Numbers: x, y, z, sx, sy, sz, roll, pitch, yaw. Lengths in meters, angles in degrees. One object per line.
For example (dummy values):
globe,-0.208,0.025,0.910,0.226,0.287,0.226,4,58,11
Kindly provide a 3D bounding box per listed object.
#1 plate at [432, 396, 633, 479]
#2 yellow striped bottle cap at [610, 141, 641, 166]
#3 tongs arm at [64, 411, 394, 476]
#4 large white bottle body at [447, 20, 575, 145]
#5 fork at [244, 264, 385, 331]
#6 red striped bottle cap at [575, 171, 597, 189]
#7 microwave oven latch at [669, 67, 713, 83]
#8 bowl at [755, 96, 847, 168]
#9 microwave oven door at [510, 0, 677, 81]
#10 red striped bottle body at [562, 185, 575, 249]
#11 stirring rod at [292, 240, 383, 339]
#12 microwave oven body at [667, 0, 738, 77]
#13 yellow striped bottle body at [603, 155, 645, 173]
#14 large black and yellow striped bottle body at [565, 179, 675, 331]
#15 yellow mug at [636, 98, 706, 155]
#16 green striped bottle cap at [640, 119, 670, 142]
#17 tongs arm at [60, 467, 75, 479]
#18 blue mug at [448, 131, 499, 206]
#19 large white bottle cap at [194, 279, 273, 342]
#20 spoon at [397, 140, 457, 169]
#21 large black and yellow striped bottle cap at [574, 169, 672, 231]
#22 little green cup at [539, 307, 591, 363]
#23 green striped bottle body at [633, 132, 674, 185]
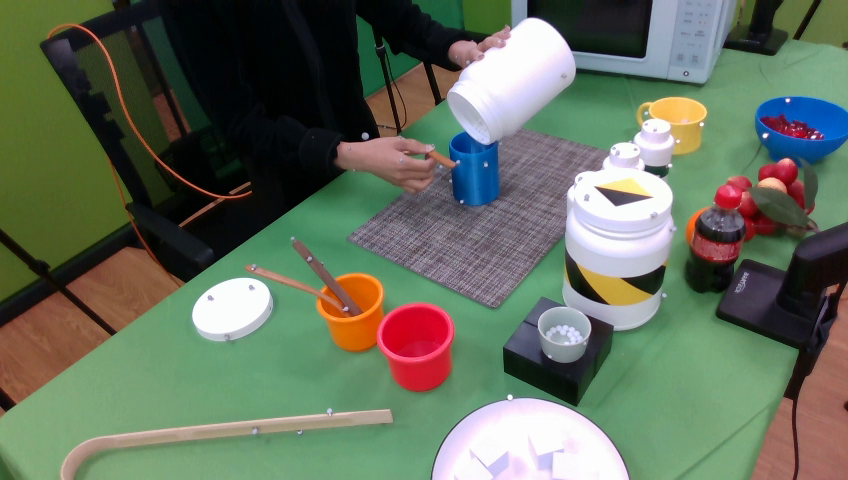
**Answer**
plate,0.112,0.261,0.634,0.209,0.038,0.208,-5,40,4
yellow striped bottle cap,0.308,-0.131,0.925,0.044,0.019,0.044,-4,46,5
tongs arm,-0.228,0.241,0.715,0.385,0.026,0.050,-5,44,4
large white bottle body,0.139,-0.253,0.989,0.185,0.131,0.129,-41,47,-10
fork,-0.142,0.078,0.806,0.209,0.018,0.028,30,34,-24
red striped bottle cap,0.242,-0.081,0.876,0.044,0.018,0.044,-5,44,5
microwave oven latch,0.556,-0.349,1.261,0.078,0.029,0.030,16,46,27
bowl,0.645,-0.177,1.041,0.151,0.077,0.150,-5,40,4
microwave oven door,0.354,-0.478,1.290,0.353,0.245,0.039,15,45,25
red striped bottle body,0.247,-0.041,0.910,0.063,0.120,0.062,0,38,1
stirring rod,-0.118,0.068,0.825,0.176,0.006,0.014,48,59,-3
microwave oven body,0.462,-0.552,1.369,0.439,0.261,0.326,15,45,26
yellow striped bottle body,0.314,-0.091,0.957,0.063,0.121,0.062,-4,40,4
large black and yellow striped bottle body,0.254,0.014,0.793,0.131,0.185,0.130,-5,40,4
yellow mug,0.453,-0.217,1.128,0.100,0.064,0.129,-34,46,-27
green striped bottle cap,0.371,-0.175,0.968,0.044,0.020,0.044,-4,42,4
tongs arm,-0.239,0.301,0.649,0.386,0.028,0.028,6,49,16
blue mug,0.089,-0.135,1.051,0.082,0.106,0.116,1,41,11
large white bottle cap,-0.284,0.103,0.902,0.115,0.018,0.114,-4,40,4
spoon,0.003,-0.138,0.970,0.042,0.022,0.192,-22,23,-17
large black and yellow striped bottle cap,0.242,-0.051,0.738,0.115,0.019,0.114,-4,37,3
little green cup,0.167,0.114,0.721,0.061,0.039,0.061,-4,43,4
green striped bottle body,0.376,-0.135,1.001,0.063,0.120,0.063,-5,40,5
